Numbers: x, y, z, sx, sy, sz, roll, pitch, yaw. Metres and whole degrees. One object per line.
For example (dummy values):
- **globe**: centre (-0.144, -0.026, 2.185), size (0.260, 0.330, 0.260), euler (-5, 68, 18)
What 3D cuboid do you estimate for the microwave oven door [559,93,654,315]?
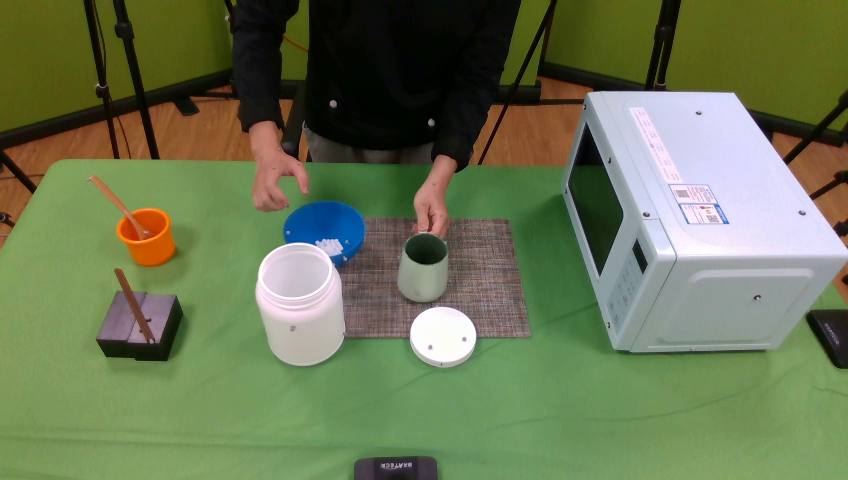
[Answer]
- **microwave oven door**: centre (0.327, -0.074, 1.123), size (0.039, 0.245, 0.353), euler (-1, 46, -5)

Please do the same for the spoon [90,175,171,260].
- **spoon**: centre (-0.539, -0.042, 1.111), size (0.041, 0.194, 0.021), euler (-46, 19, -32)

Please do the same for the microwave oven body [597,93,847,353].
- **microwave oven body**: centre (0.475, -0.041, 1.109), size (0.326, 0.261, 0.438), euler (-1, 45, -4)

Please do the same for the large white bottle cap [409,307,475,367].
- **large white bottle cap**: centre (0.031, 0.165, 1.041), size (0.115, 0.018, 0.114), euler (2, 47, -2)

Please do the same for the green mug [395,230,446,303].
- **green mug**: centre (-0.005, 0.040, 1.098), size (0.092, 0.105, 0.124), euler (0, 45, -6)

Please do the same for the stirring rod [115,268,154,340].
- **stirring rod**: centre (-0.479, 0.103, 0.999), size (0.014, 0.006, 0.175), euler (7, 32, -49)

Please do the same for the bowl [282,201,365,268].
- **bowl**: centre (-0.187, 0.005, 1.138), size (0.151, 0.077, 0.150), euler (3, 46, -3)

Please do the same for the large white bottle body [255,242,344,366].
- **large white bottle body**: centre (-0.196, 0.102, 0.967), size (0.131, 0.185, 0.130), euler (2, 49, -2)

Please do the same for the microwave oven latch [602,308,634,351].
- **microwave oven latch**: centre (0.332, 0.153, 1.044), size (0.030, 0.029, 0.078), euler (-1, 45, -4)
